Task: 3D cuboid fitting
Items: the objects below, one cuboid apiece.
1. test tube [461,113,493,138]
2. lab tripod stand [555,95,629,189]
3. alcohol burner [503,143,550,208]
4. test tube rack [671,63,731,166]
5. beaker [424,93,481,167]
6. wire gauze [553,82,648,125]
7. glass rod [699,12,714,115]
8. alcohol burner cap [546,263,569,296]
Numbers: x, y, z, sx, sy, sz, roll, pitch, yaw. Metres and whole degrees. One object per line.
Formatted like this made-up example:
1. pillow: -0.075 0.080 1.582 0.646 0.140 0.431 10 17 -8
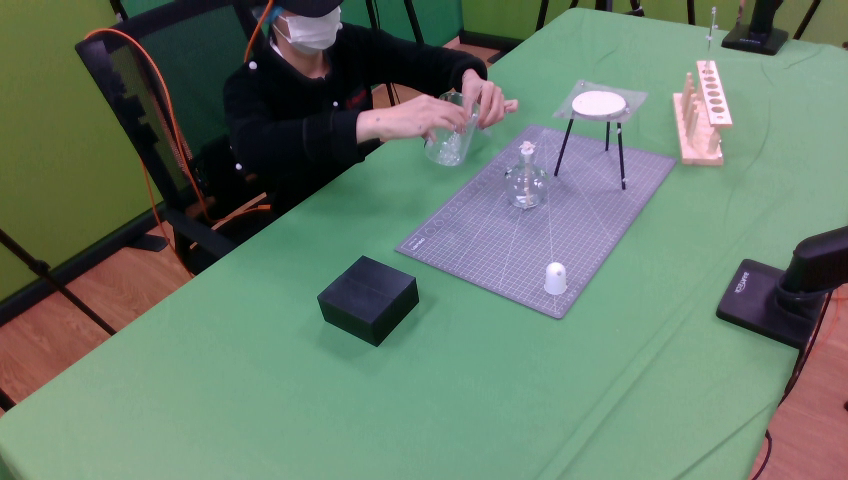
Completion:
1. test tube: 0.099 -0.207 1.104 0.017 0.017 0.151 12 2 23
2. lab tripod stand: 0.300 -0.174 1.045 0.148 0.132 0.147 -5 38 5
3. alcohol burner: 0.171 -0.112 1.006 0.078 0.119 0.077 -3 41 3
4. test tube rack: 0.513 -0.241 1.132 0.066 0.085 0.242 4 41 14
5. beaker: 0.045 -0.176 0.993 0.073 0.084 0.100 12 72 18
6. wire gauze: 0.293 -0.226 1.002 0.120 0.011 0.125 17 45 27
7. glass rod: 0.525 -0.323 1.124 0.008 0.201 0.008 -8 38 6
8. alcohol burner cap: 0.191 0.053 0.862 0.034 0.048 0.033 -5 40 4
